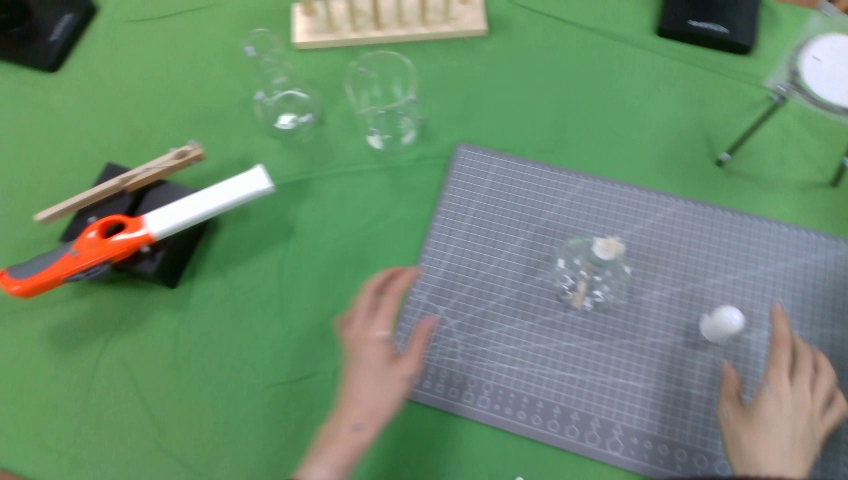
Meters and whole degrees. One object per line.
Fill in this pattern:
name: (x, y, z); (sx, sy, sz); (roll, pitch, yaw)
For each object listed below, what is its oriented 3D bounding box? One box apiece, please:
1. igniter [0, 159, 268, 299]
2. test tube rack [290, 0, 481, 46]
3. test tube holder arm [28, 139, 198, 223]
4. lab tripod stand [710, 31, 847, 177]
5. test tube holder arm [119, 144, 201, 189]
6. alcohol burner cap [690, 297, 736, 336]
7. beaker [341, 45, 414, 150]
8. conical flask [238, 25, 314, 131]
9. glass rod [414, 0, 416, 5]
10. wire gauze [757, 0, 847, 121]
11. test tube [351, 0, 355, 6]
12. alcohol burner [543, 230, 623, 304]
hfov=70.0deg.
igniter: (-0.293, -0.012, 0.611); (0.277, 0.025, 0.057); (-26, 71, -13)
test tube rack: (-0.051, -0.302, 0.744); (0.242, 0.086, 0.066); (-5, 67, 0)
test tube holder arm: (-0.323, -0.063, 0.636); (0.178, 0.015, 0.013); (-27, 69, -10)
lab tripod stand: (0.397, -0.139, 0.639); (0.148, 0.132, 0.147); (0, 67, 0)
test tube holder arm: (-0.280, -0.078, 0.642); (0.088, 0.015, 0.010); (-26, 69, -10)
alcohol burner cap: (0.289, 0.073, 0.600); (0.034, 0.048, 0.033); (-1, 67, 2)
beaker: (-0.050, -0.151, 0.675); (0.073, 0.101, 0.084); (30, 72, 14)
conical flask: (-0.171, -0.184, 0.679); (0.075, 0.123, 0.075); (-1, 67, 2)
glass rod: (-0.020, -0.353, 0.693); (0.008, 0.201, 0.008); (-3, 59, 5)
wire gauze: (0.402, -0.165, 0.576); (0.121, 0.011, 0.125); (36, 74, 13)
test tube: (-0.093, -0.336, 0.705); (0.017, 0.151, 0.017); (1, 61, -1)
alcohol burner: (0.158, 0.020, 0.587); (0.078, 0.120, 0.077); (0, 67, 0)
